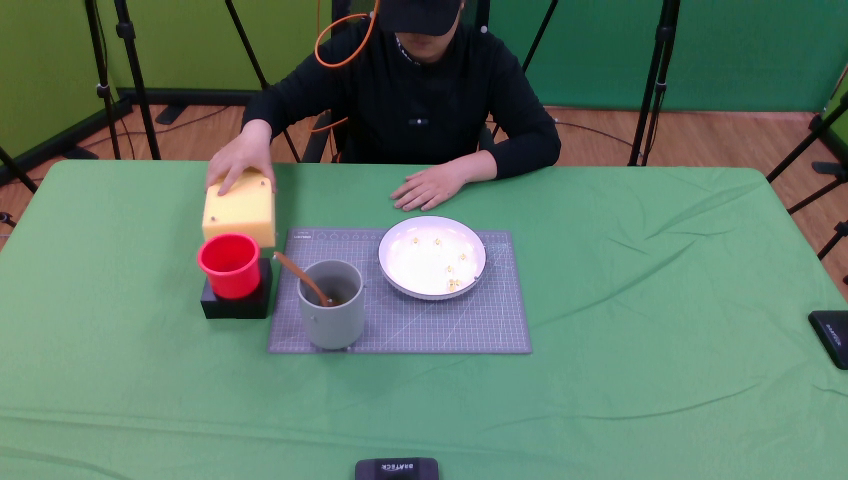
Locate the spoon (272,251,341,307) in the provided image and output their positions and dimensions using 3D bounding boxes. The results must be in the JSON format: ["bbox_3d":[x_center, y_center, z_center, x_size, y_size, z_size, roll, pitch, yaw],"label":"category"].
[{"bbox_3d":[-0.180,0.077,0.981,0.021,0.195,0.041,-9,45,28],"label":"spoon"}]

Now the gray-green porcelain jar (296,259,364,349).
[{"bbox_3d":[-0.152,0.111,1.003,0.106,0.127,0.105,2,46,-2],"label":"gray-green porcelain jar"}]

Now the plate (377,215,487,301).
[{"bbox_3d":[0.014,0.037,1.147,0.208,0.039,0.206,2,46,-2],"label":"plate"}]

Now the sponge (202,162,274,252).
[{"bbox_3d":[-0.353,-0.068,1.165,0.118,0.061,0.205,-6,40,-11],"label":"sponge"}]
